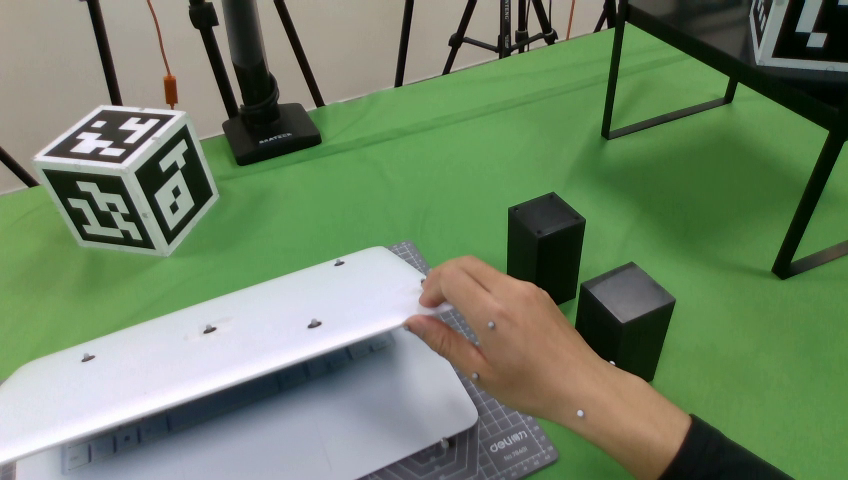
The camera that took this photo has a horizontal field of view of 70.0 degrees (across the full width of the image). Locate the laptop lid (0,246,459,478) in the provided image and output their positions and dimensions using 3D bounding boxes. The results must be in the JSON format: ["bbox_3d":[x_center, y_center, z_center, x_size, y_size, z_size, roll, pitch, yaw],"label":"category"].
[{"bbox_3d":[-0.169,0.078,0.492,0.357,0.013,0.240,-18,15,-14],"label":"laptop lid"}]

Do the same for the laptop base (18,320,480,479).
[{"bbox_3d":[-0.157,0.139,0.526,0.355,0.023,0.232,-19,45,-16],"label":"laptop base"}]
